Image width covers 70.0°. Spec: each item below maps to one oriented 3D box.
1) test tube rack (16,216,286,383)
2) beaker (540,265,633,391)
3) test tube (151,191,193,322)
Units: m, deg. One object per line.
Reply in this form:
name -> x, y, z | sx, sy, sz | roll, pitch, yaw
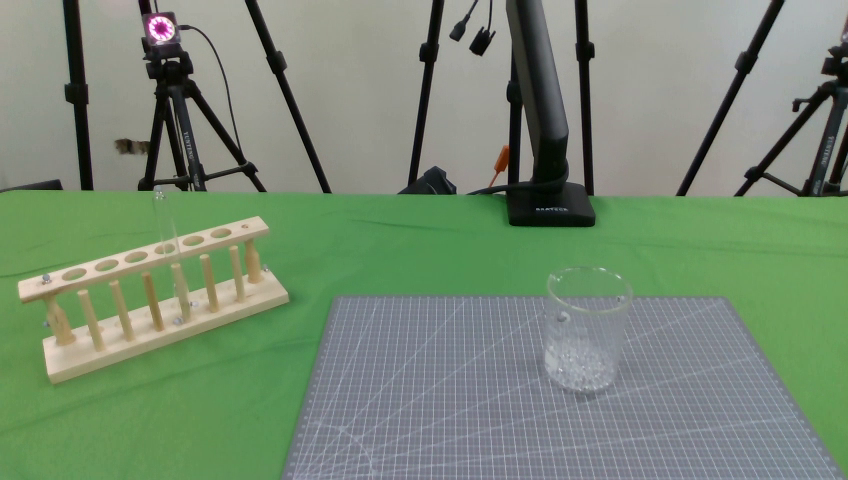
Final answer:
test tube rack -> -0.278, 0.056, 0.643 | 0.243, 0.086, 0.066 | -18, 35, -28
beaker -> 0.145, 0.083, 0.567 | 0.074, 0.101, 0.083 | -22, 36, -31
test tube -> -0.254, 0.020, 0.614 | 0.017, 0.151, 0.017 | 1, 30, 0
